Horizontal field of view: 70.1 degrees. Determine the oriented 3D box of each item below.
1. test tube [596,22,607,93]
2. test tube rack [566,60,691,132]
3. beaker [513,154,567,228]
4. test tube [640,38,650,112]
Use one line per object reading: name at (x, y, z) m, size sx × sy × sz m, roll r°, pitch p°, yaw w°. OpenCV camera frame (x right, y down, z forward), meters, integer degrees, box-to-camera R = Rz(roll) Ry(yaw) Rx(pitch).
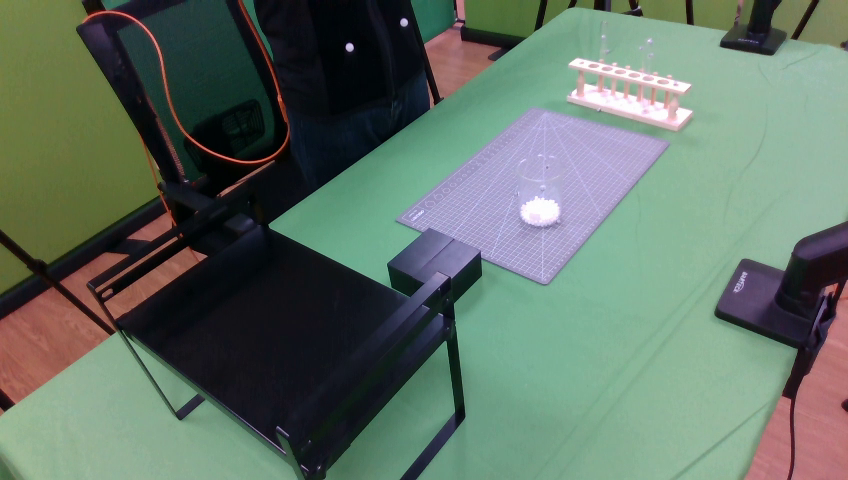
test tube at (0.363, -0.372, 1.240) m, size 0.017 × 0.151 × 0.017 m, roll -6°, pitch 40°, yaw 5°
test tube rack at (0.411, -0.299, 1.217) m, size 0.240 × 0.085 × 0.067 m, roll 26°, pitch 51°, yaw 33°
beaker at (0.186, -0.077, 0.973) m, size 0.084 × 0.101 × 0.074 m, roll 1°, pitch 41°, yaw 11°
test tube at (0.422, -0.312, 1.154) m, size 0.017 × 0.151 × 0.017 m, roll -9°, pitch 39°, yaw 8°
